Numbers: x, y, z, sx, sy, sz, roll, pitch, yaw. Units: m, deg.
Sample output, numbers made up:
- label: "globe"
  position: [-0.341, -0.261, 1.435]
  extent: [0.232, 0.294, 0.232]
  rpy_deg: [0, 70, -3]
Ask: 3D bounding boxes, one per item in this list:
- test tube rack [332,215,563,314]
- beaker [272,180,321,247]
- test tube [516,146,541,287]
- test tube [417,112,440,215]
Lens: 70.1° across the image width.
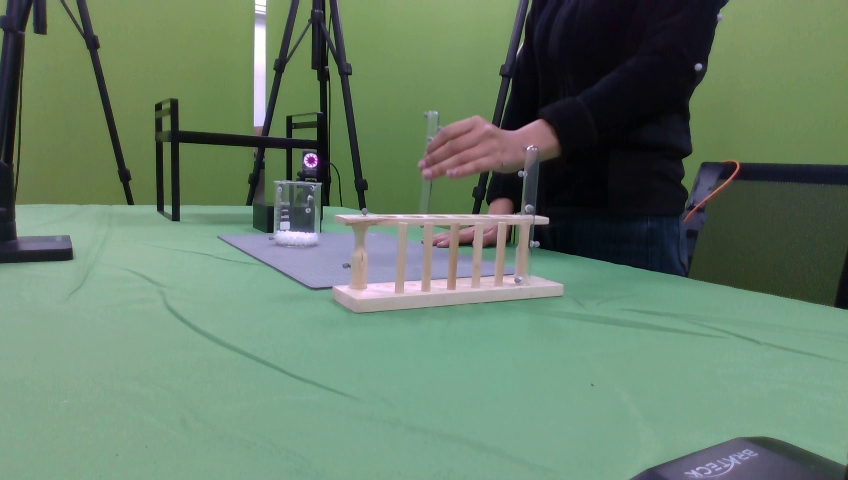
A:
- label: "test tube rack"
  position: [0.032, 0.019, 0.626]
  extent: [0.243, 0.085, 0.066]
  rpy_deg: [-1, 8, -29]
- label: "beaker"
  position: [-0.197, -0.042, 0.944]
  extent: [0.073, 0.100, 0.084]
  rpy_deg: [7, 8, 29]
- label: "test tube"
  position: [0.110, -0.024, 0.638]
  extent: [0.017, 0.150, 0.017]
  rpy_deg: [3, 6, 0]
- label: "test tube"
  position: [0.006, -0.098, 0.817]
  extent: [0.017, 0.150, 0.017]
  rpy_deg: [7, 4, 0]
